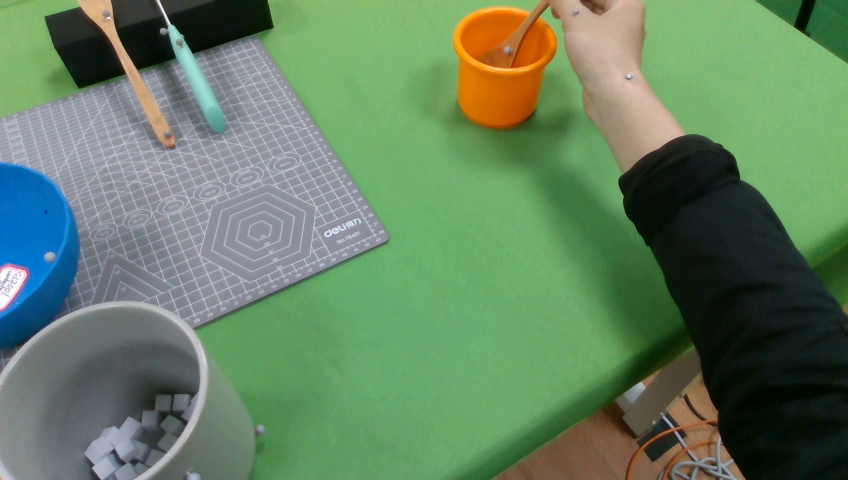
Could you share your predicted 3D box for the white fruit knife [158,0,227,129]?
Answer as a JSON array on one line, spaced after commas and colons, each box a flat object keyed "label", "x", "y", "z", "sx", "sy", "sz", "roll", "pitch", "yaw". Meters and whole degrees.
[{"label": "white fruit knife", "x": -0.233, "y": -0.193, "z": 0.572, "sx": 0.016, "sy": 0.027, "sz": 0.206, "roll": -26, "pitch": 74, "yaw": -18}]

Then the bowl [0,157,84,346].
[{"label": "bowl", "x": -0.308, "y": 0.023, "z": 0.426, "sx": 0.151, "sy": 0.077, "sz": 0.150, "roll": 0, "pitch": 56, "yaw": 0}]

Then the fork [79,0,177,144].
[{"label": "fork", "x": -0.277, "y": -0.175, "z": 0.558, "sx": 0.028, "sy": 0.019, "sz": 0.206, "roll": -27, "pitch": 79, "yaw": -23}]

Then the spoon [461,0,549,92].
[{"label": "spoon", "x": 0.102, "y": -0.204, "z": 0.528, "sx": 0.022, "sy": 0.194, "sz": 0.041, "roll": 0, "pitch": 54, "yaw": -49}]
